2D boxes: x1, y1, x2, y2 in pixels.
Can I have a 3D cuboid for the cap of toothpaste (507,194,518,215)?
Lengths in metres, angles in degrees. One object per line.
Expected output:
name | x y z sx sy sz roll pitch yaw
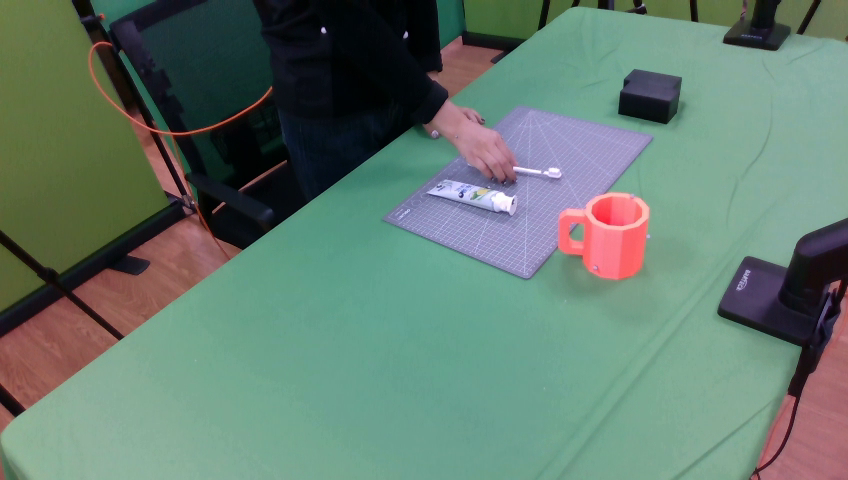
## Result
cap of toothpaste | 0.146 -0.060 1.007 0.011 0.037 0.037 14 46 22

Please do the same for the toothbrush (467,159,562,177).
toothbrush | 0.163 -0.134 1.106 0.181 0.017 0.014 10 61 24

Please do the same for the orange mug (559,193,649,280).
orange mug | 0.261 -0.008 0.884 0.126 0.101 0.083 9 43 14

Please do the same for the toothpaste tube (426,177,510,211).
toothpaste tube | 0.083 -0.081 1.054 0.164 0.034 0.055 18 40 34
